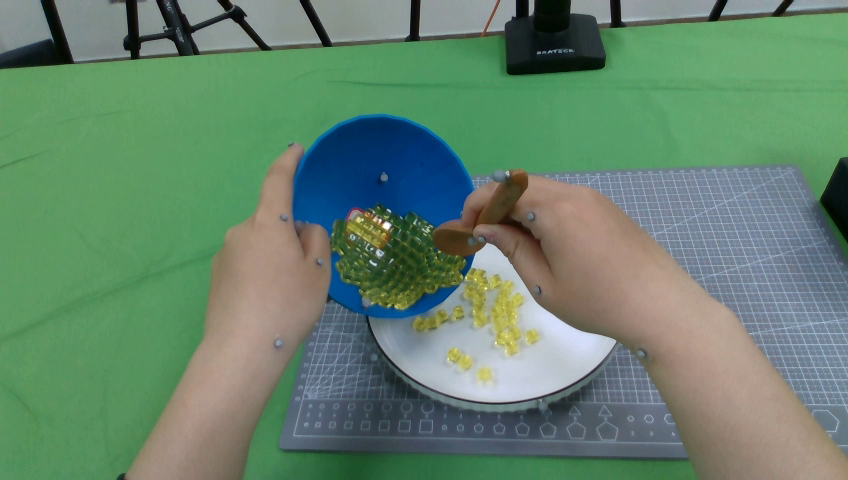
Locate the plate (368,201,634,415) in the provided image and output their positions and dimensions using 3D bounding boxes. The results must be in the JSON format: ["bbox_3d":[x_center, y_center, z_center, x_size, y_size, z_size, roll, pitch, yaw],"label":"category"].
[{"bbox_3d":[0.059,0.051,0.491,0.207,0.039,0.205,-4,46,4],"label":"plate"}]

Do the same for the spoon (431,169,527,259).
[{"bbox_3d":[0.034,-0.010,0.372,0.042,0.194,0.021,11,81,-5],"label":"spoon"}]

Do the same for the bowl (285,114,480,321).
[{"bbox_3d":[-0.040,-0.012,0.467,0.151,0.152,0.076,-39,12,-26],"label":"bowl"}]
